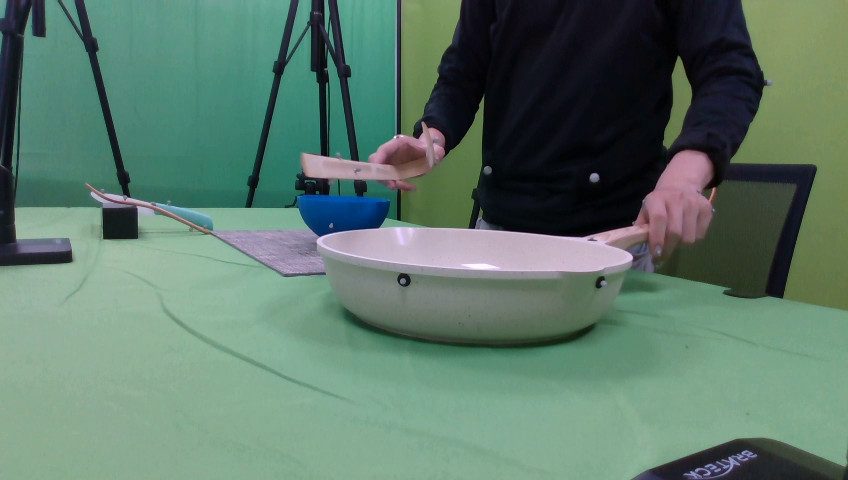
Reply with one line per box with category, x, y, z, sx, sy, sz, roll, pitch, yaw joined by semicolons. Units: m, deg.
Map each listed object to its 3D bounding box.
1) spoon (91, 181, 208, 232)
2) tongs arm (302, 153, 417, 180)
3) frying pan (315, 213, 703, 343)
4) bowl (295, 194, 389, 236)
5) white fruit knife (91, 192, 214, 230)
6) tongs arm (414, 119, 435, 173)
spoon;-0.461;-0.053;1.023;0.195;0.021;0.041;21;22;-24
tongs arm;-0.067;-0.097;0.795;0.051;0.026;0.385;-17;2;10
frying pan;0.133;0.014;0.629;0.490;0.102;0.305;-11;14;-29
bowl;-0.132;-0.032;0.980;0.151;0.077;0.151;2;7;0
white fruit knife;-0.477;-0.055;1.077;0.208;0.027;0.016;15;-5;-30
tongs arm;-0.001;-0.115;0.787;0.028;0.028;0.387;-20;2;1
